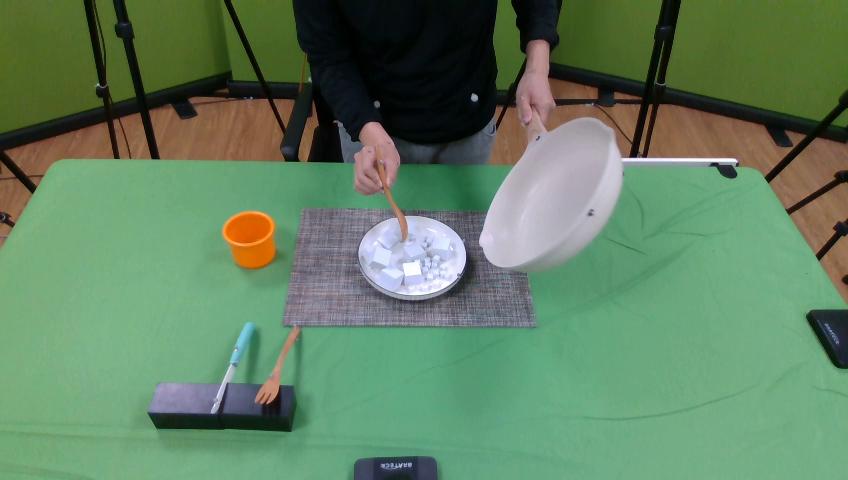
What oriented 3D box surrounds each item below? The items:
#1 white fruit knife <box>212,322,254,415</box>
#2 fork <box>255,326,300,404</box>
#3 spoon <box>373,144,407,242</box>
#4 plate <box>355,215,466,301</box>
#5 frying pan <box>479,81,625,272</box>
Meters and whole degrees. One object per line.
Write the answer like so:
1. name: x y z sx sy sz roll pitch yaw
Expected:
1. white fruit knife: -0.298 0.193 0.947 0.016 0.027 0.206 2 31 -1
2. fork: -0.226 0.192 0.955 0.028 0.019 0.206 -1 27 4
3. spoon: -0.063 -0.081 1.086 0.021 0.194 0.041 -13 29 13
4. plate: -0.025 0.038 1.143 0.208 0.039 0.206 3 46 -2
5. frying pan: 0.216 -0.144 1.087 0.103 0.307 0.484 28 40 -30
